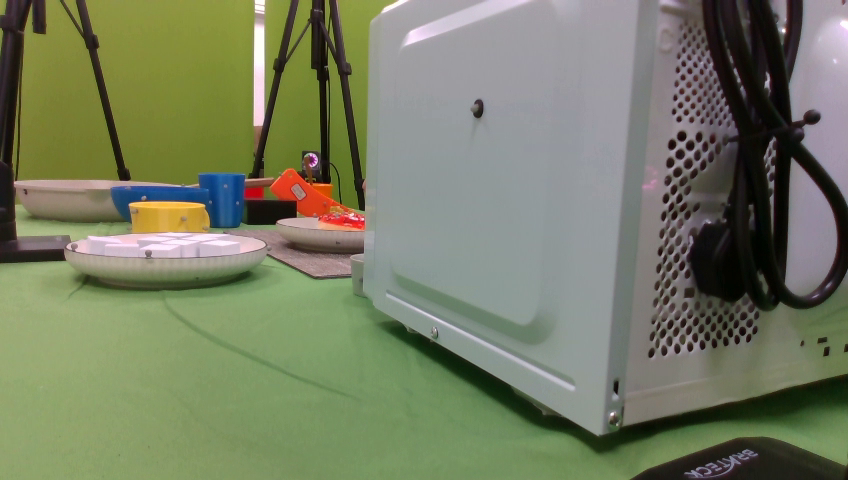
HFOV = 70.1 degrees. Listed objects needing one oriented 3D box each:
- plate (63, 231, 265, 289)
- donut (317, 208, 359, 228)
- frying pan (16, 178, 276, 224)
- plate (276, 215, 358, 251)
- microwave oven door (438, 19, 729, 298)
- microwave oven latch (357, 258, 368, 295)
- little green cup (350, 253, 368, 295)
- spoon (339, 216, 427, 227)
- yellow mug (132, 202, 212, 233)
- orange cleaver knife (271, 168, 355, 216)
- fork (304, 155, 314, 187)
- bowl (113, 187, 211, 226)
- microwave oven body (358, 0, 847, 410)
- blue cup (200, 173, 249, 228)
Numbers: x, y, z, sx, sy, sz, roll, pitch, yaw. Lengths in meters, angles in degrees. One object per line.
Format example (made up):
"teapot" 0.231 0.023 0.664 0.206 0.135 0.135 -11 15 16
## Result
"plate" -0.288 0.021 0.687 0.208 0.039 0.207 2 8 0
"donut" -0.118 -0.024 0.954 0.099 0.048 0.099 6 7 0
"frying pan" -0.554 -0.097 1.266 0.490 0.102 0.305 -10 13 -24
"plate" -0.126 -0.012 0.950 0.209 0.038 0.209 2 7 0
"microwave oven door" 0.181 -0.076 0.618 0.358 0.243 0.039 -2 8 -28
"microwave oven latch" -0.019 0.031 0.529 0.079 0.029 0.030 -1 7 -27
"little green cup" -0.048 0.035 0.632 0.061 0.038 0.061 3 6 0
"spoon" -0.087 -0.041 1.268 0.193 0.021 0.041 3 19 14
"yellow mug" -0.356 -0.020 0.878 0.099 0.064 0.131 5 7 21
"orange cleaver knife" -0.236 -0.084 1.333 0.212 0.077 0.012 31 -9 -32
"fork" -0.268 -0.134 1.446 0.028 0.018 0.207 1 -36 -1
"bowl" -0.436 -0.046 1.013 0.151 0.077 0.151 2 8 0
"microwave oven body" 0.210 -0.051 0.471 0.444 0.260 0.324 -1 7 -28
"blue cup" -0.380 -0.076 1.155 0.093 0.100 0.092 0 8 0
